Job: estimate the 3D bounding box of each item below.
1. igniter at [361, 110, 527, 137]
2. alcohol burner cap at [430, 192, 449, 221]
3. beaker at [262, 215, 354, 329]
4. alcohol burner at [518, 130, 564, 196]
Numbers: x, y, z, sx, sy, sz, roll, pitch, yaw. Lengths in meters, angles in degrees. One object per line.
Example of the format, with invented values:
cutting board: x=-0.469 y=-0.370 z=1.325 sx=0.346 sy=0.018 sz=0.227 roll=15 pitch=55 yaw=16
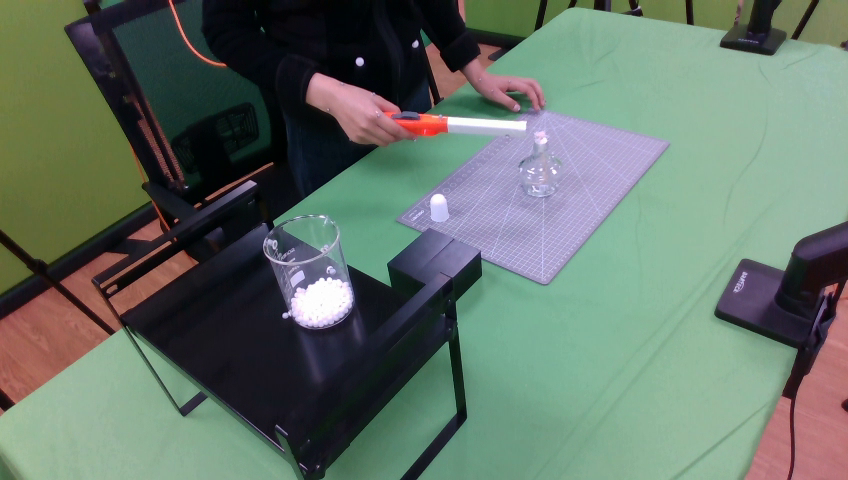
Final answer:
igniter: x=0.029 y=-0.191 z=0.994 sx=0.276 sy=0.057 sz=0.025 roll=5 pitch=68 yaw=8
alcohol burner cap: x=0.025 y=-0.059 z=1.020 sx=0.034 sy=0.048 sz=0.033 roll=-4 pitch=41 yaw=4
beaker: x=-0.112 y=0.034 z=0.616 sx=0.073 sy=0.101 sz=0.084 roll=13 pitch=44 yaw=23
alcohol burner: x=0.199 y=-0.135 z=1.027 sx=0.078 sy=0.119 sz=0.077 roll=-5 pitch=42 yaw=5
